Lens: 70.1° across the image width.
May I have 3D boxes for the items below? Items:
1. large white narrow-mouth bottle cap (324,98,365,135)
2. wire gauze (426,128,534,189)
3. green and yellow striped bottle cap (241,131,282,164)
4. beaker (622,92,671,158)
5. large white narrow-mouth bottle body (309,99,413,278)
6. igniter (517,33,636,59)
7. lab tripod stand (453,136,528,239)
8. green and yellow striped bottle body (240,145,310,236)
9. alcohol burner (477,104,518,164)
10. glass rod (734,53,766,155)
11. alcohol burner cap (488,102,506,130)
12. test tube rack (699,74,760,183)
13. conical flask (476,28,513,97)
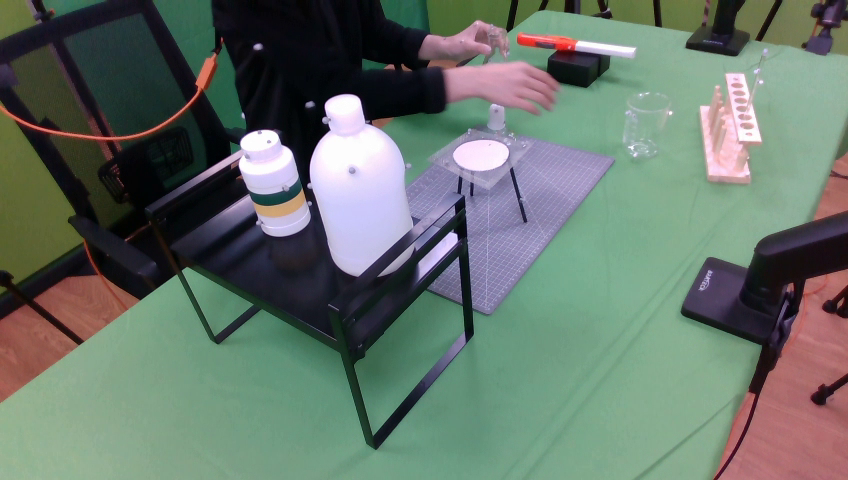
[{"bbox_3d":[-0.076,-0.120,0.585,0.038,0.024,0.037,-3,42,3],"label":"large white narrow-mouth bottle cap"},{"bbox_3d":[0.086,-0.131,0.924,0.124,0.011,0.122,26,52,33],"label":"wire gauze"},{"bbox_3d":[-0.187,-0.107,0.695,0.045,0.020,0.045,-3,39,3],"label":"green and yellow striped bottle cap"},{"bbox_3d":[0.402,-0.210,1.106,0.074,0.101,0.083,-9,40,-2],"label":"beaker"},{"bbox_3d":[-0.068,-0.057,0.645,0.102,0.195,0.101,-3,42,4],"label":"large white narrow-mouth bottle body"},{"bbox_3d":[0.336,-0.441,1.369,0.275,0.025,0.057,16,41,23],"label":"igniter"},{"bbox_3d":[0.094,-0.086,0.974,0.148,0.132,0.147,-4,43,4],"label":"lab tripod stand"},{"bbox_3d":[-0.181,-0.068,0.729,0.063,0.120,0.063,-4,40,4],"label":"green and yellow striped bottle body"},{"bbox_3d":[0.135,-0.200,1.117,0.078,0.119,0.077,-4,43,4],"label":"alcohol burner"},{"bbox_3d":[0.540,-0.220,1.007,0.008,0.201,0.008,-5,46,6],"label":"glass rod"},{"bbox_3d":[0.133,-0.227,1.092,0.034,0.048,0.033,-1,47,2],"label":"alcohol burner cap"},{"bbox_3d":[0.547,-0.208,1.095,0.066,0.085,0.242,6,42,16],"label":"test tube rack"},{"bbox_3d":[0.142,-0.350,1.189,0.075,0.122,0.075,0,38,0],"label":"conical flask"}]
